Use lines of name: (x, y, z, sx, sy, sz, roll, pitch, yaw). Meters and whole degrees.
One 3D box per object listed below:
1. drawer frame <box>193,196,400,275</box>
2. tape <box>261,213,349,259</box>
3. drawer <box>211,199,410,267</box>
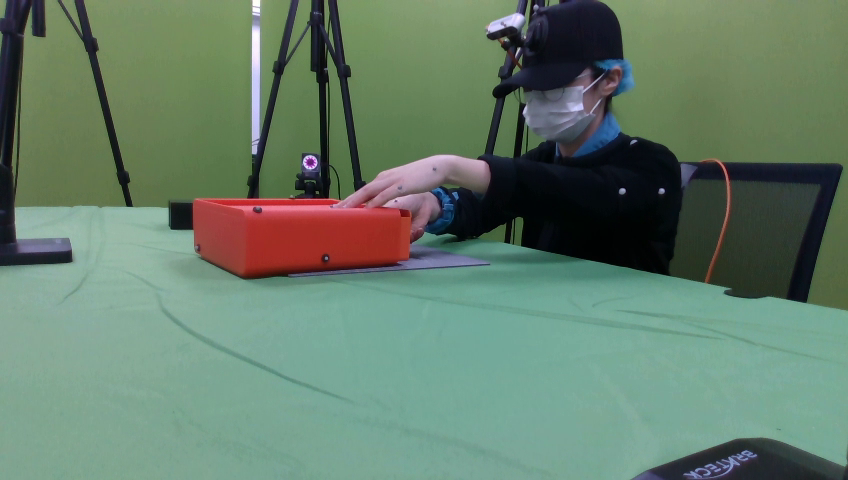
drawer frame: (-0.173, -0.014, 0.815, 0.215, 0.082, 0.200, -4, 10, -37)
tape: (-0.161, -0.007, 0.822, 0.117, 0.052, 0.117, 3, 7, 0)
drawer: (-0.158, -0.015, 0.827, 0.213, 0.073, 0.193, -4, 10, -36)
